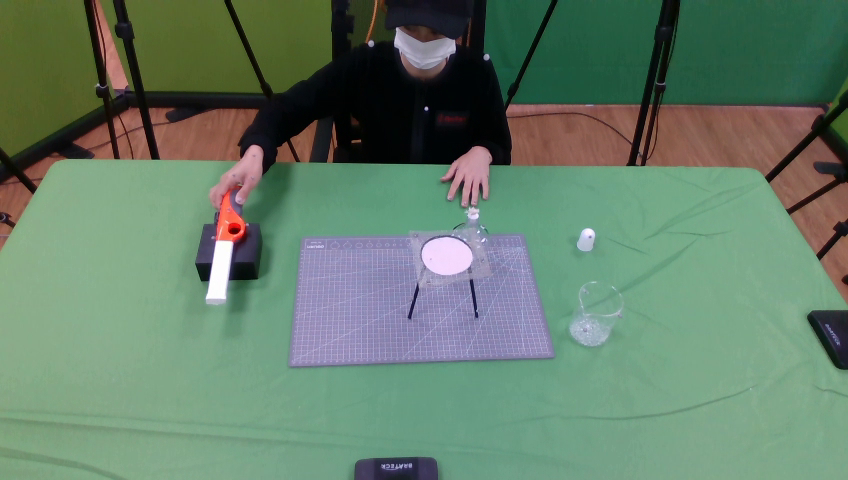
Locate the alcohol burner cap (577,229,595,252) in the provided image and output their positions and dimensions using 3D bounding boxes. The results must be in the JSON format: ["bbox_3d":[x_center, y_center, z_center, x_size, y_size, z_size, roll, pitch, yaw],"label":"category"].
[{"bbox_3d":[0.326,-0.002,1.213,0.034,0.048,0.033,1,47,-1],"label":"alcohol burner cap"}]

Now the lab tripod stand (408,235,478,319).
[{"bbox_3d":[0.032,0.065,1.057,0.148,0.132,0.147,1,45,-1],"label":"lab tripod stand"}]

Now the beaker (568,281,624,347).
[{"bbox_3d":[0.290,0.132,1.041,0.084,0.101,0.073,-34,57,-31],"label":"beaker"}]

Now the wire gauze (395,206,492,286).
[{"bbox_3d":[0.031,0.010,0.993,0.125,0.011,0.120,-25,57,-17],"label":"wire gauze"}]

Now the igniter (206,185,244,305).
[{"bbox_3d":[-0.360,-0.001,1.101,0.057,0.025,0.274,4,49,-12],"label":"igniter"}]

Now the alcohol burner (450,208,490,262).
[{"bbox_3d":[0.088,-0.015,1.153,0.078,0.120,0.077,1,47,-1],"label":"alcohol burner"}]
